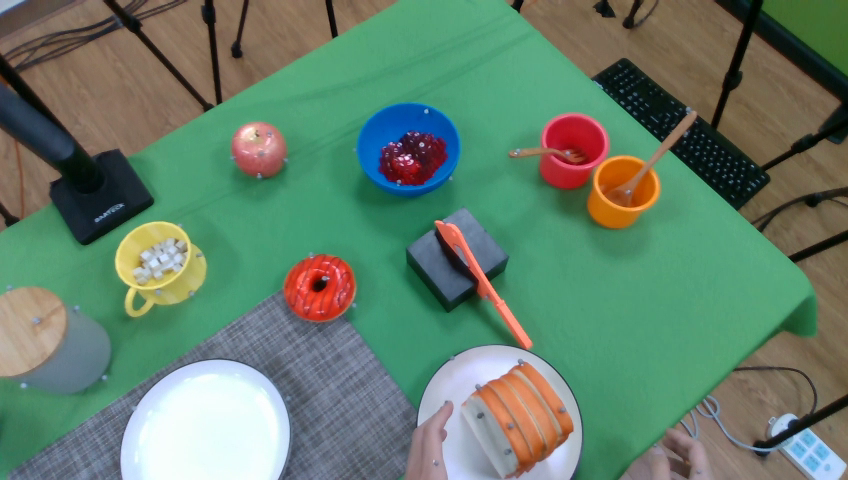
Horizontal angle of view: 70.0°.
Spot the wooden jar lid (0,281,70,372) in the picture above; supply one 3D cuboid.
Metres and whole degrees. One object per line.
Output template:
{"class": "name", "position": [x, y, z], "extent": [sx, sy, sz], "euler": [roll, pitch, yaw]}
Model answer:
{"class": "wooden jar lid", "position": [-0.464, 0.101, 0.704], "extent": [0.108, 0.021, 0.107], "euler": [0, 65, 1]}

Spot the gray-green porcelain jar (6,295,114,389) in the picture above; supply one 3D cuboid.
{"class": "gray-green porcelain jar", "position": [-0.464, 0.127, 0.761], "extent": [0.106, 0.127, 0.105], "euler": [0, 66, 0]}

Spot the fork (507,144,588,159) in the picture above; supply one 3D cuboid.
{"class": "fork", "position": [0.179, -0.129, 0.866], "extent": [0.208, 0.018, 0.028], "euler": [-7, 58, -50]}

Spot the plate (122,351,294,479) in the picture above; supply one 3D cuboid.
{"class": "plate", "position": [-0.263, 0.244, 0.755], "extent": [0.208, 0.039, 0.206], "euler": [0, 66, 0]}

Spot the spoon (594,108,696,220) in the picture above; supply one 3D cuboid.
{"class": "spoon", "position": [0.312, -0.105, 0.856], "extent": [0.041, 0.194, 0.022], "euler": [46, 29, 18]}

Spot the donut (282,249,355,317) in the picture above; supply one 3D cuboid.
{"class": "donut", "position": [-0.144, 0.059, 0.833], "extent": [0.099, 0.048, 0.098], "euler": [1, 66, -1]}

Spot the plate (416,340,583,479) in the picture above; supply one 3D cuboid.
{"class": "plate", "position": [0.093, 0.231, 0.767], "extent": [0.209, 0.038, 0.207], "euler": [0, 66, -1]}

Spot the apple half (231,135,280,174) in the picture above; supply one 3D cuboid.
{"class": "apple half", "position": [-0.253, -0.117, 0.897], "extent": [0.081, 0.082, 0.032], "euler": [17, 62, 8]}

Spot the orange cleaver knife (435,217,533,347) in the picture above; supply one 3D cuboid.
{"class": "orange cleaver knife", "position": [0.079, 0.055, 0.819], "extent": [0.012, 0.077, 0.211], "euler": [-35, 95, -14]}

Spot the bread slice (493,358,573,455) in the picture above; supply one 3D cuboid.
{"class": "bread slice", "position": [0.130, 0.198, 0.722], "extent": [0.018, 0.135, 0.106], "euler": [-28, 70, -22]}

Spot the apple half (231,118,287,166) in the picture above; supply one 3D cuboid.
{"class": "apple half", "position": [-0.241, -0.150, 0.913], "extent": [0.080, 0.075, 0.053], "euler": [16, 61, 11]}

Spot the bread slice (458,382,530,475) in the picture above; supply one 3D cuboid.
{"class": "bread slice", "position": [0.080, 0.220, 0.711], "extent": [0.019, 0.132, 0.104], "euler": [-24, 69, -19]}

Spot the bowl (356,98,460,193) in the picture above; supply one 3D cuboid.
{"class": "bowl", "position": [-0.023, -0.126, 0.901], "extent": [0.151, 0.077, 0.150], "euler": [0, 67, 0]}

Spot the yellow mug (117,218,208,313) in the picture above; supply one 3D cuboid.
{"class": "yellow mug", "position": [-0.366, 0.040, 0.833], "extent": [0.100, 0.064, 0.130], "euler": [19, 68, 8]}
